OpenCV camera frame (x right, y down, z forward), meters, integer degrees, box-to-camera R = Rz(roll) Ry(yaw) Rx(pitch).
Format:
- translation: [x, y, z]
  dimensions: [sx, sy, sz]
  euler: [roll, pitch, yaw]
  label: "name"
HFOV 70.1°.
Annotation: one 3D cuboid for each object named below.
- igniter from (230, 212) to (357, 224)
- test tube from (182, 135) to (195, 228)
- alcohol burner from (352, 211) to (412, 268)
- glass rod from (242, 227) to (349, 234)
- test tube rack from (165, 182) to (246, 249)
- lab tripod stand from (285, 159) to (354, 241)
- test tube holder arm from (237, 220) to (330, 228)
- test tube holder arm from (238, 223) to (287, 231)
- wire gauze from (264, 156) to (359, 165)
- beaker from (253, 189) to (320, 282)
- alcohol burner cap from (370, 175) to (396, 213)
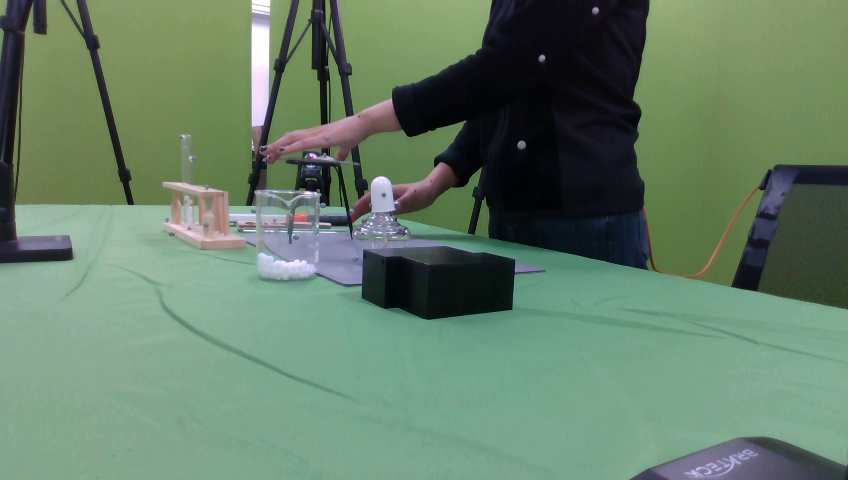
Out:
- translation: [-0.271, -0.044, 1.232]
  dimensions: [0.278, 0.025, 0.057]
  euler: [-2, -2, -28]
  label: "igniter"
- translation: [-0.382, -0.095, 0.983]
  dimensions: [0.017, 0.150, 0.017]
  euler: [-1, 2, 0]
  label: "test tube"
- translation: [-0.055, -0.024, 0.784]
  dimensions: [0.078, 0.119, 0.078]
  euler: [1, 9, 0]
  label: "alcohol burner"
- translation: [-0.232, -0.016, 1.110]
  dimensions: [0.201, 0.008, 0.008]
  euler: [2, 6, -29]
  label: "glass rod"
- translation: [-0.360, -0.044, 0.982]
  dimensions: [0.067, 0.085, 0.241]
  euler: [-3, 9, -34]
  label: "test tube rack"
- translation: [-0.187, -0.068, 1.013]
  dimensions: [0.148, 0.131, 0.148]
  euler: [4, 9, 0]
  label: "lab tripod stand"
- translation: [-0.261, -0.029, 1.142]
  dimensions: [0.179, 0.015, 0.013]
  euler: [-3, 45, -33]
  label: "test tube holder arm"
- translation: [-0.297, -0.024, 1.113]
  dimensions: [0.088, 0.015, 0.010]
  euler: [-2, 45, -33]
  label: "test tube holder arm"
- translation: [-0.190, -0.135, 1.011]
  dimensions: [0.126, 0.011, 0.121]
  euler: [-3, 10, -33]
  label: "wire gauze"
- translation: [-0.156, -0.005, 0.689]
  dimensions: [0.074, 0.100, 0.083]
  euler: [0, 8, -14]
  label: "beaker"
- translation: [-0.055, -0.059, 0.778]
  dimensions: [0.034, 0.048, 0.034]
  euler: [-7, 10, 2]
  label: "alcohol burner cap"
